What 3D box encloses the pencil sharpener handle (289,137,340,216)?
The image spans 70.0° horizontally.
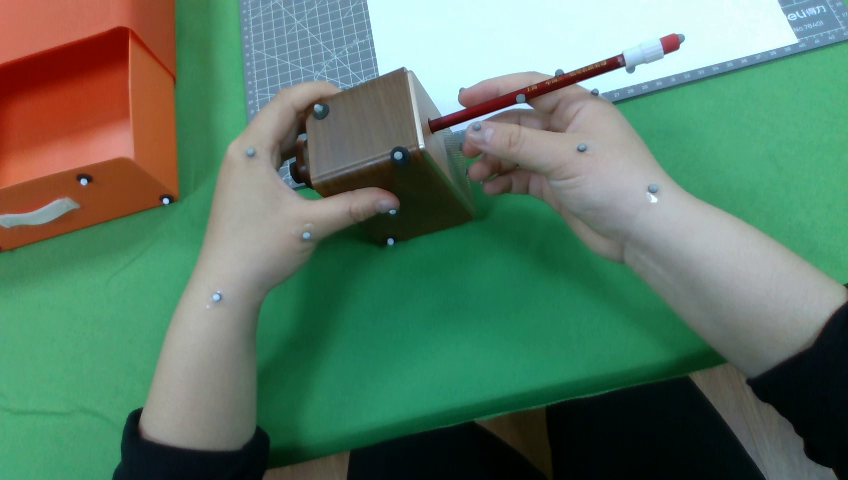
[{"bbox_3d":[-0.072,-0.036,0.391,0.030,0.068,0.035,-17,60,16],"label":"pencil sharpener handle"}]

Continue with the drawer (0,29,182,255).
[{"bbox_3d":[-0.307,-0.107,0.495,0.194,0.074,0.210,-16,65,7],"label":"drawer"}]

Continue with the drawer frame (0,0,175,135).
[{"bbox_3d":[-0.331,-0.213,0.540,0.201,0.083,0.211,-15,65,6],"label":"drawer frame"}]

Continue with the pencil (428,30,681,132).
[{"bbox_3d":[0.044,-0.079,0.342,0.194,0.012,0.012,-17,65,15],"label":"pencil"}]

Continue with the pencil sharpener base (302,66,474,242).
[{"bbox_3d":[-0.021,-0.048,0.389,0.076,0.108,0.061,-17,66,16],"label":"pencil sharpener base"}]
